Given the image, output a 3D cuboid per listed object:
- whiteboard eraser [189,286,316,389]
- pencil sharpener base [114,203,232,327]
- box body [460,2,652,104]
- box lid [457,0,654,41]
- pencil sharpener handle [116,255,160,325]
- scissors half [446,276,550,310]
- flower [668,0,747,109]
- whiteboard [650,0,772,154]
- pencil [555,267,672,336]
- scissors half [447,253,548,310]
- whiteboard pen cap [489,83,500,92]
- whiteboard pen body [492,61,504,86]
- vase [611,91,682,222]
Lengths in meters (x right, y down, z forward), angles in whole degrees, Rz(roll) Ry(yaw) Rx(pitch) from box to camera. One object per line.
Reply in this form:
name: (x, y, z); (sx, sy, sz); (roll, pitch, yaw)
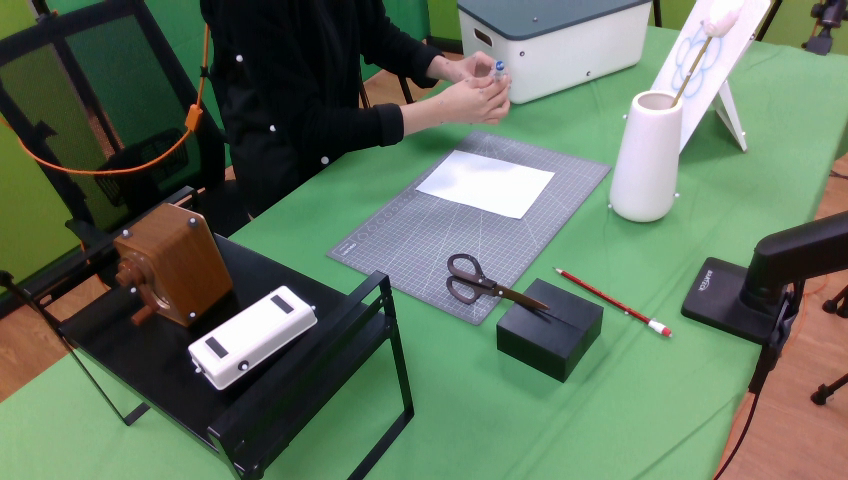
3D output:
whiteboard eraser: (-0.166, 0.096, 0.593); (0.113, 0.042, 0.055); (-36, 47, -29)
pencil sharpener base: (-0.261, 0.029, 0.635); (0.061, 0.107, 0.077); (18, 47, 27)
box body: (0.291, -0.465, 1.371); (0.365, 0.161, 0.252); (-22, 42, -16)
box lid: (0.285, -0.522, 1.323); (0.373, 0.015, 0.261); (-22, 43, -16)
pencil sharpener handle: (-0.286, 0.050, 0.594); (0.035, 0.068, 0.031); (7, 41, 35)
scissors half: (0.098, 0.077, 0.827); (0.174, 0.040, 0.013); (6, 14, 44)
flower: (0.354, -0.187, 0.879); (0.038, 0.362, 0.044); (31, 48, 14)
whiteboard: (0.543, -0.298, 1.076); (0.144, 0.305, 0.216); (12, 40, -7)
pencil: (0.260, 0.082, 0.851); (0.012, 0.012, 0.192); (-33, 45, -27)
scissors half: (0.098, 0.058, 0.821); (0.173, 0.040, 0.013); (27, 33, 36)
whiteboard pen cap: (0.127, -0.277, 1.091); (0.018, 0.018, 0.033); (-7, 8, 0)
whiteboard pen body: (0.122, -0.274, 1.008); (0.017, 0.017, 0.141); (-4, 2, 5)
vase: (0.348, -0.125, 0.935); (0.098, 0.201, 0.097); (-3, 40, 3)
